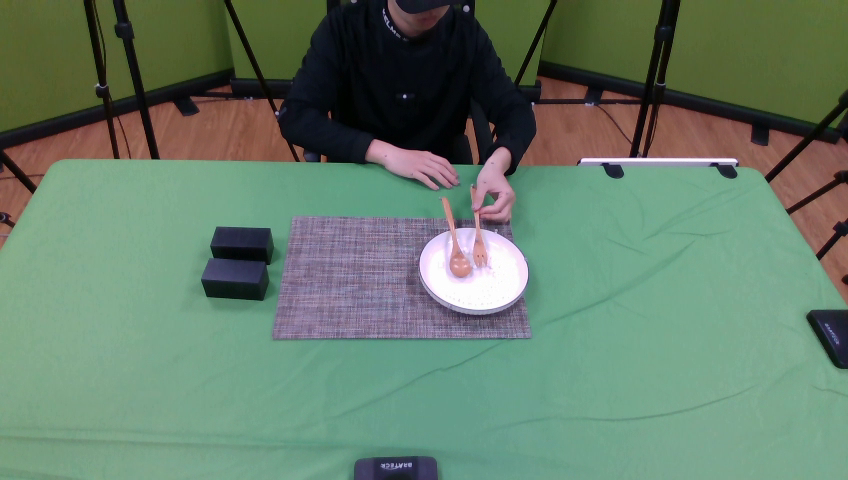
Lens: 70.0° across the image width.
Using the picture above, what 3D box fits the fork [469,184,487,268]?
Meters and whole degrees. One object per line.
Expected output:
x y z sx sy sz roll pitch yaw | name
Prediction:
0.103 -0.031 1.190 0.028 0.019 0.206 -3 58 0 | fork

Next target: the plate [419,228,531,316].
0.093 0.062 1.130 0.208 0.039 0.206 2 46 -2 | plate

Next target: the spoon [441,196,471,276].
0.056 -0.010 1.176 0.042 0.022 0.192 -5 60 -9 | spoon
